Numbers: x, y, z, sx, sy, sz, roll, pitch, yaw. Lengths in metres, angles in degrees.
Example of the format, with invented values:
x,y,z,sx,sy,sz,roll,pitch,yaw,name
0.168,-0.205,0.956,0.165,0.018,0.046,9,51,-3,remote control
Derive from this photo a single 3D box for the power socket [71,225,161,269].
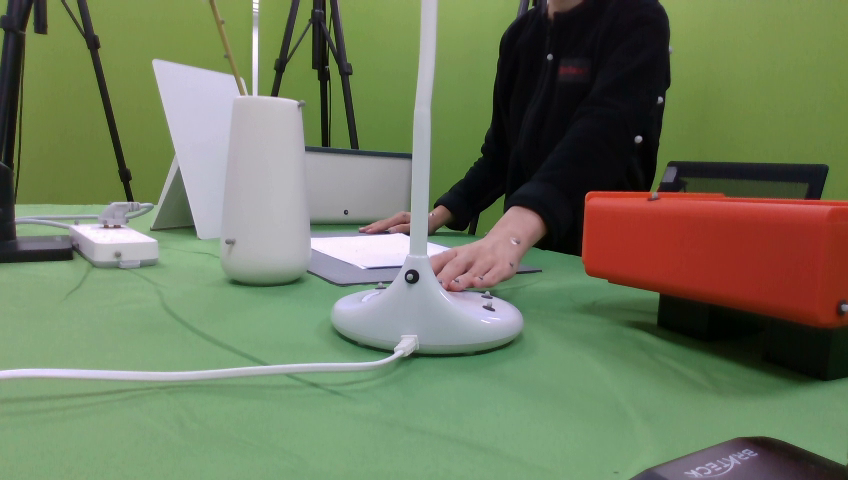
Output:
x,y,z,sx,sy,sz,roll,pitch,yaw,name
-0.408,0.004,0.793,0.072,0.032,0.225,-2,8,-38,power socket

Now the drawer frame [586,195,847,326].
x,y,z,sx,sy,sz,roll,pitch,yaw,name
0.284,0.004,0.508,0.203,0.082,0.212,-1,6,-28,drawer frame

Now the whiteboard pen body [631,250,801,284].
x,y,z,sx,sy,sz,roll,pitch,yaw,name
0.240,0.020,0.512,0.017,0.017,0.140,-4,8,-41,whiteboard pen body

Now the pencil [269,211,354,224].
x,y,z,sx,sy,sz,roll,pitch,yaw,name
-0.246,-0.047,1.337,0.195,0.012,0.012,7,5,-27,pencil

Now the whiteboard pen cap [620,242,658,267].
x,y,z,sx,sy,sz,roll,pitch,yaw,name
0.199,0.014,0.556,0.018,0.018,0.033,-4,16,-38,whiteboard pen cap

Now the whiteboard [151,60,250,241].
x,y,z,sx,sy,sz,roll,pitch,yaw,name
-0.408,-0.139,1.093,0.143,0.305,0.218,-15,0,25,whiteboard

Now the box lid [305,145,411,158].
x,y,z,sx,sy,sz,roll,pitch,yaw,name
-0.232,-0.200,1.363,0.373,0.015,0.262,0,7,-29,box lid

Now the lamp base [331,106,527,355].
x,y,z,sx,sy,sz,roll,pitch,yaw,name
0.006,-0.012,0.478,0.161,0.180,0.179,2,10,2,lamp base

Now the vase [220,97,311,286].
x,y,z,sx,sy,sz,roll,pitch,yaw,name
-0.172,-0.052,0.662,0.098,0.200,0.098,3,8,0,vase

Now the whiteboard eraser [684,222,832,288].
x,y,z,sx,sy,sz,roll,pitch,yaw,name
0.305,0.013,0.558,0.056,0.042,0.112,-10,20,-30,whiteboard eraser

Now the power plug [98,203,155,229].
x,y,z,sx,sy,sz,roll,pitch,yaw,name
-0.416,-0.026,0.848,0.073,0.052,0.035,1,7,-28,power plug

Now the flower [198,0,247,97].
x,y,z,sx,sy,sz,roll,pitch,yaw,name
-0.187,-0.133,0.648,0.038,0.362,0.044,0,22,43,flower

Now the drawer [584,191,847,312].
x,y,z,sx,sy,sz,roll,pitch,yaw,name
0.280,0.001,0.513,0.195,0.073,0.210,-1,8,-28,drawer

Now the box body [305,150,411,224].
x,y,z,sx,sy,sz,roll,pitch,yaw,name
-0.233,-0.127,1.374,0.366,0.160,0.253,-2,8,-29,box body
